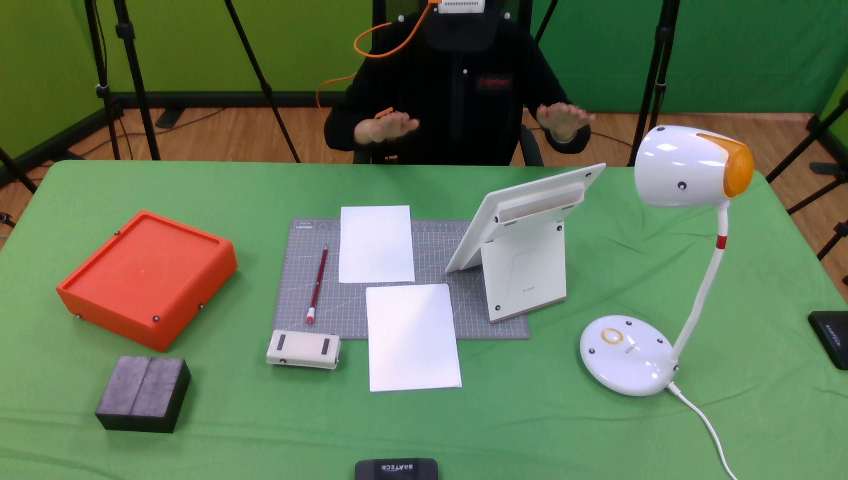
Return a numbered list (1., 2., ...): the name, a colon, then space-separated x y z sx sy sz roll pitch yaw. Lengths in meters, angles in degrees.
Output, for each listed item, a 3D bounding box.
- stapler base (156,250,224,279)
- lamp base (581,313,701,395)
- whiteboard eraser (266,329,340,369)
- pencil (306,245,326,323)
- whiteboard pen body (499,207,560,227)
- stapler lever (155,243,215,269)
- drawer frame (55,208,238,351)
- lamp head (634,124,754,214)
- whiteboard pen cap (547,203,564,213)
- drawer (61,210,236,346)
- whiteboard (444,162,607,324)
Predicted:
1. stapler base: -0.431 0.040 1.111 0.130 0.024 0.041 11 38 17
2. lamp base: 0.361 0.144 0.972 0.178 0.181 0.160 34 53 23
3. whiteboard eraser: -0.198 0.181 0.994 0.113 0.042 0.055 5 45 1
4. pencil: -0.197 0.076 1.115 0.012 0.012 0.193 4 44 0
5. whiteboard pen body: 0.222 -0.051 1.259 0.141 0.017 0.017 -15 49 -16
6. stapler lever: -0.433 0.023 1.097 0.118 0.040 0.026 14 39 14
7. drawer frame: -0.474 0.062 1.059 0.201 0.083 0.213 18 48 12
8. lamp head: 0.351 -0.089 0.775 0.112 0.113 0.122 -30 30 -28
9. whiteboard pen cap: 0.277 -0.066 1.275 0.033 0.018 0.018 -18 50 -15
10. drawer: -0.474 0.061 1.063 0.194 0.073 0.211 19 49 13
11. whiteboard: 0.186 0.025 1.029 0.217 0.306 0.143 -15 68 -18
